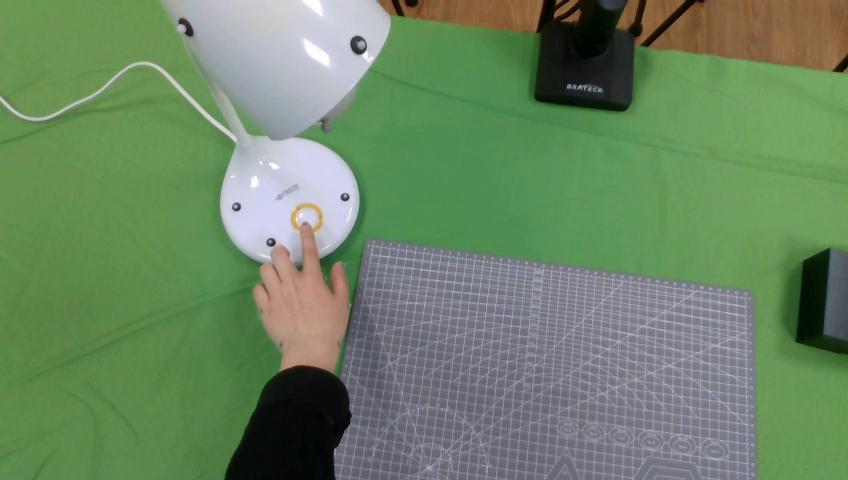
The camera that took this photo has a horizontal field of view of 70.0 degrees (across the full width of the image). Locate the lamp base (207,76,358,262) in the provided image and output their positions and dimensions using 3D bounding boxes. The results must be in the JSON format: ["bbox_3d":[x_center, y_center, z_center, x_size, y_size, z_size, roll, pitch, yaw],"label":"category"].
[{"bbox_3d":[-0.167,-0.083,0.640,0.178,0.181,0.160,41,76,14],"label":"lamp base"}]

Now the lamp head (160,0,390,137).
[{"bbox_3d":[-0.101,-0.141,0.365,0.124,0.111,0.112,40,72,-29],"label":"lamp head"}]
